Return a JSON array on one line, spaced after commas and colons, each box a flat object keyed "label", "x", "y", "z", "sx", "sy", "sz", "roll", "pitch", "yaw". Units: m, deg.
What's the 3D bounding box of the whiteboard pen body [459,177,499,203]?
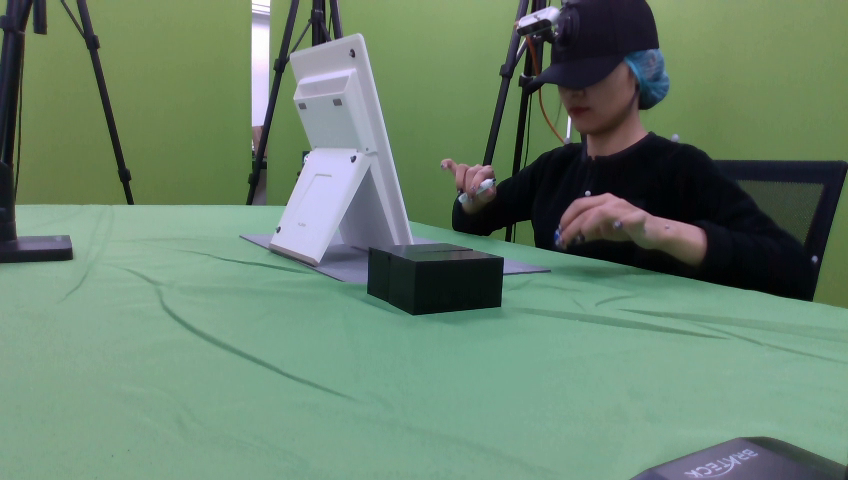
[{"label": "whiteboard pen body", "x": 0.099, "y": -0.092, "z": 1.088, "sx": 0.017, "sy": 0.017, "sz": 0.140, "roll": -1, "pitch": -12, "yaw": -23}]

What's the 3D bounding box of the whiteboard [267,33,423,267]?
[{"label": "whiteboard", "x": -0.153, "y": -0.098, "z": 0.819, "sx": 0.144, "sy": 0.305, "sz": 0.216, "roll": -25, "pitch": 21, "yaw": -29}]

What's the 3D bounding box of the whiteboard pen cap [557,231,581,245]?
[{"label": "whiteboard pen cap", "x": 0.196, "y": -0.003, "z": 0.820, "sx": 0.018, "sy": 0.018, "sz": 0.033, "roll": -1, "pitch": 4, "yaw": -25}]
